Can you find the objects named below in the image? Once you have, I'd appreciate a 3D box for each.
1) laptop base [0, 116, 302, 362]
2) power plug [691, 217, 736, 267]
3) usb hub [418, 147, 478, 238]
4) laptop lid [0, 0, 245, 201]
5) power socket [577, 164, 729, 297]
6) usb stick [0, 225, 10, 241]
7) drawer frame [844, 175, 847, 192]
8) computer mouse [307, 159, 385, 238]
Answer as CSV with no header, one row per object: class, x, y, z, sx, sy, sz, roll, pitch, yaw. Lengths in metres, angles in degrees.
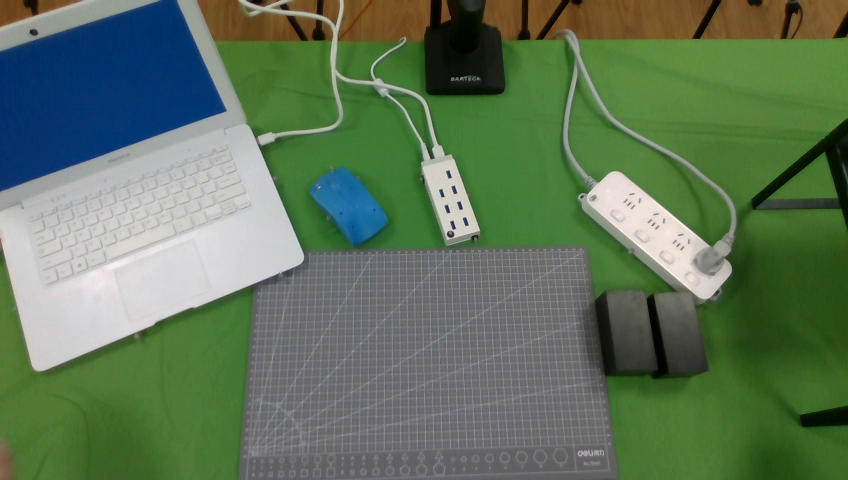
laptop base,-0.366,-0.013,0.809,0.354,0.023,0.234,-23,75,-10
power plug,0.387,0.009,0.801,0.072,0.053,0.035,-30,73,-15
usb hub,0.032,-0.067,0.840,0.049,0.025,0.124,-16,71,-7
laptop lid,-0.425,-0.181,0.747,0.357,0.244,0.013,-24,57,-9
power socket,0.312,-0.015,0.827,0.072,0.033,0.225,-42,76,-16
usb stick,-0.572,-0.006,0.784,0.059,0.027,0.021,-23,75,-15
drawer frame,0.576,0.002,0.613,0.214,0.083,0.200,-5,69,-5
computer mouse,-0.108,-0.060,0.826,0.063,0.041,0.116,-36,71,-13
